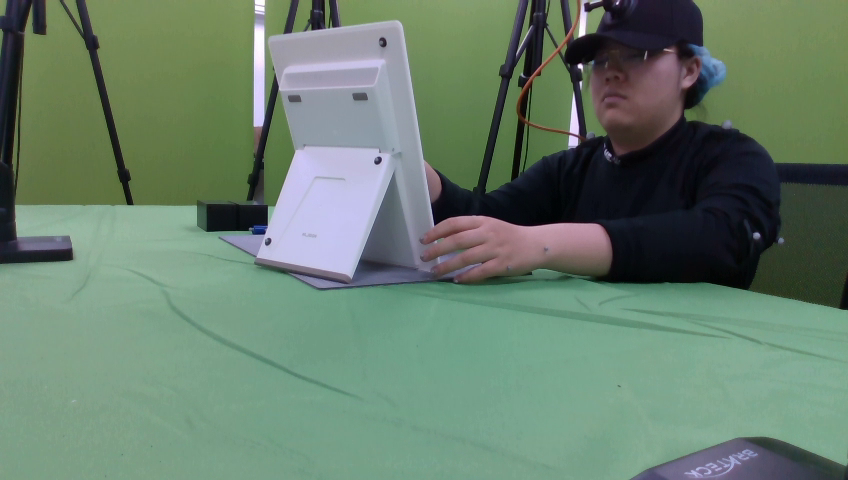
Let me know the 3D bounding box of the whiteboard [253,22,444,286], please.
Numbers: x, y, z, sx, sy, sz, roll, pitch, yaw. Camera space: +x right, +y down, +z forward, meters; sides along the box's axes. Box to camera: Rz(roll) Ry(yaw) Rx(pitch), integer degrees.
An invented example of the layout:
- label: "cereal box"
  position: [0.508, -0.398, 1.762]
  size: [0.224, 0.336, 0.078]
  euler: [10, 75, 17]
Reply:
- label: "whiteboard"
  position: [-0.125, -0.081, 0.715]
  size: [0.216, 0.305, 0.144]
  euler: [9, 29, 36]

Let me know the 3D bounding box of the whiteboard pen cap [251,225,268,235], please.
- label: "whiteboard pen cap"
  position: [-0.288, -0.019, 1.072]
  size: [0.033, 0.018, 0.018]
  euler: [-3, 9, -34]

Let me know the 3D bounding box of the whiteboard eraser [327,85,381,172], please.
- label: "whiteboard eraser"
  position: [-0.093, -0.145, 0.794]
  size: [0.055, 0.113, 0.042]
  euler: [6, 27, 27]

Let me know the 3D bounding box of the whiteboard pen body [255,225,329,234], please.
- label: "whiteboard pen body"
  position: [-0.239, -0.019, 1.105]
  size: [0.141, 0.017, 0.017]
  euler: [-2, 9, -34]
